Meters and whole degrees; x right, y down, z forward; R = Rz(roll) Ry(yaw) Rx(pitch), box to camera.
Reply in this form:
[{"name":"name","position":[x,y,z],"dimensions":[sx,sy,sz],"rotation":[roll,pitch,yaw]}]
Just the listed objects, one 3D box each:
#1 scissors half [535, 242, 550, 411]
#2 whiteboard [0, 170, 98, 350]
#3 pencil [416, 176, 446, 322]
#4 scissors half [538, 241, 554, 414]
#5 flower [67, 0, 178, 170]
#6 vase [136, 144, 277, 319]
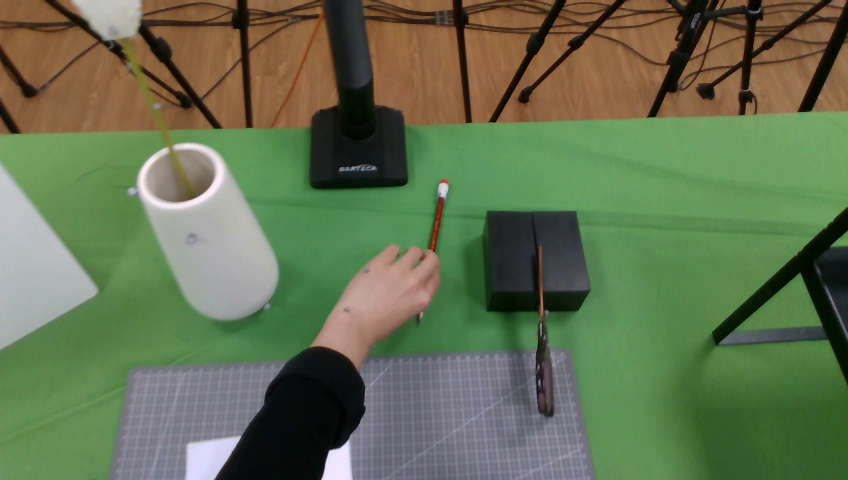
[{"name":"scissors half","position":[0.115,0.079,0.596],"dimensions":[0.013,0.040,0.173],"rotation":[-3,61,15]},{"name":"whiteboard","position":[-0.498,-0.029,0.552],"dimensions":[0.217,0.308,0.142],"rotation":[-33,47,-20]},{"name":"pencil","position":[0.008,0.005,0.696],"dimensions":[0.012,0.012,0.192],"rotation":[9,61,3]},{"name":"scissors half","position":[0.122,0.086,0.614],"dimensions":[0.012,0.040,0.174],"rotation":[-5,78,20]},{"name":"flower","position":[-0.209,-0.057,0.514],"dimensions":[0.044,0.365,0.038],"rotation":[-8,42,-4]},{"name":"vase","position":[-0.204,-0.003,0.579],"dimensions":[0.098,0.201,0.097],"rotation":[1,58,-1]}]
